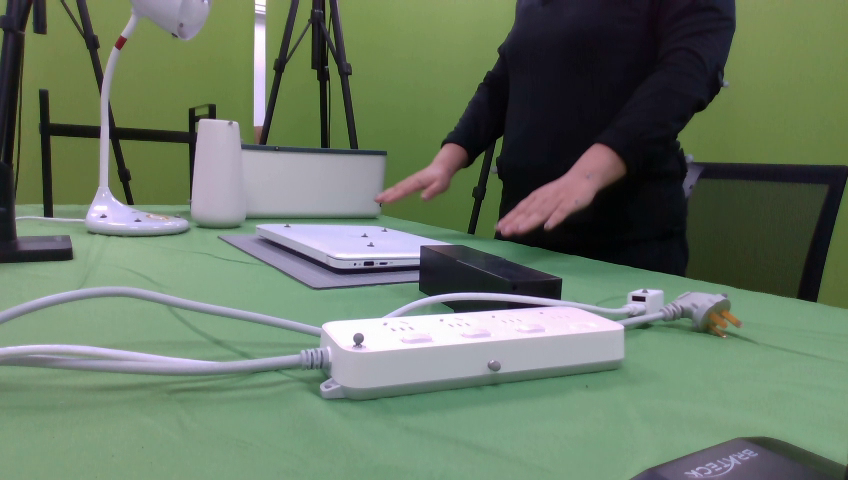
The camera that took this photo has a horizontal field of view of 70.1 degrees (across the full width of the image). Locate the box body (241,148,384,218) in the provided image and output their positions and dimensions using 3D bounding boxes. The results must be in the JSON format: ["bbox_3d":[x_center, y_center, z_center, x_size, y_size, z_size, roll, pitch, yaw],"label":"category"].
[{"bbox_3d":[-0.306,-0.144,1.474,0.366,0.160,0.253,-1,9,-30],"label":"box body"}]

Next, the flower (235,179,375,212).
[{"bbox_3d":[-0.264,-0.093,1.417,0.364,0.044,0.038,8,47,-39],"label":"flower"}]

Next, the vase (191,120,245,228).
[{"bbox_3d":[-0.389,-0.124,1.142,0.098,0.200,0.098,3,9,0],"label":"vase"}]

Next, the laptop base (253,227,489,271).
[{"bbox_3d":[-0.096,0.012,0.911,0.237,0.023,0.352,2,6,-32],"label":"laptop base"}]

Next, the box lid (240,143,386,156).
[{"bbox_3d":[-0.304,-0.217,1.463,0.373,0.015,0.262,-2,8,-30],"label":"box lid"}]

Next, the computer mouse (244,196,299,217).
[{"bbox_3d":[-0.346,-0.077,1.372,0.118,0.041,0.062,-11,19,-33],"label":"computer mouse"}]

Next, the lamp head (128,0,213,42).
[{"bbox_3d":[-0.423,-0.394,0.980,0.123,0.112,0.112,20,7,-3],"label":"lamp head"}]

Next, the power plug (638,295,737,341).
[{"bbox_3d":[0.235,0.077,0.535,0.072,0.035,0.052,-34,39,-6],"label":"power plug"}]

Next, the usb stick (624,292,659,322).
[{"bbox_3d":[0.211,0.064,0.580,0.021,0.027,0.059,-2,-4,36],"label":"usb stick"}]

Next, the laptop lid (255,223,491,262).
[{"bbox_3d":[-0.093,0.000,0.911,0.243,0.013,0.355,1,7,-30],"label":"laptop lid"}]

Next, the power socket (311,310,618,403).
[{"bbox_3d":[0.034,0.074,0.415,0.228,0.032,0.072,-1,7,-24],"label":"power socket"}]

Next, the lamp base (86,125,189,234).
[{"bbox_3d":[-0.497,-0.105,1.027,0.179,0.180,0.160,1,7,3],"label":"lamp base"}]
